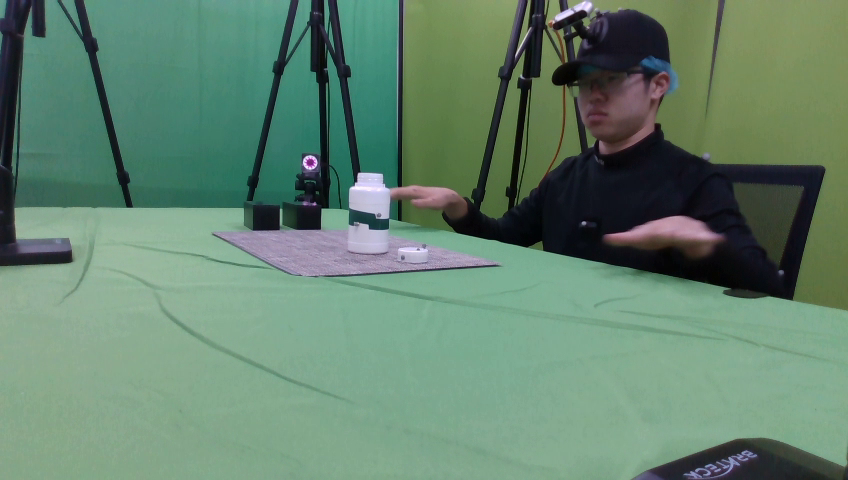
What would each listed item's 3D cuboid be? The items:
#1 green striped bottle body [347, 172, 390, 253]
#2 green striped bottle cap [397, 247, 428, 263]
[{"bbox_3d":[-0.083,-0.042,0.913,0.063,0.119,0.063,2,7,0],"label":"green striped bottle body"},{"bbox_3d":[-0.016,0.021,0.851,0.044,0.020,0.044,1,5,0],"label":"green striped bottle cap"}]
